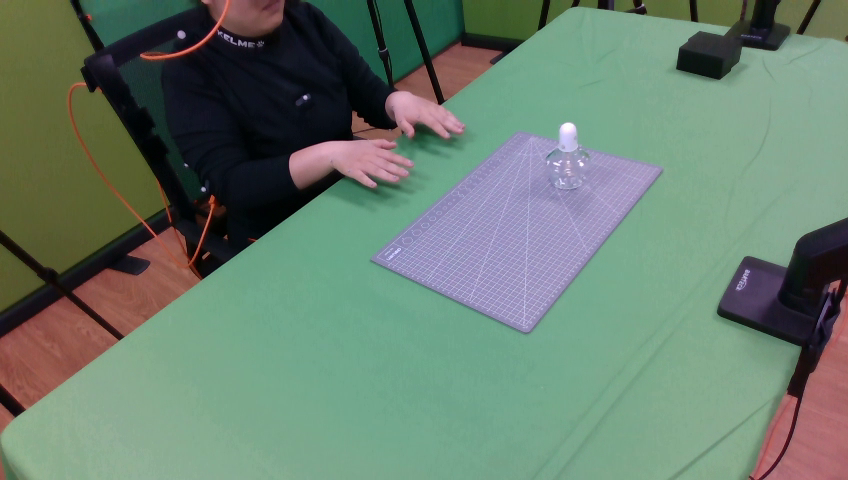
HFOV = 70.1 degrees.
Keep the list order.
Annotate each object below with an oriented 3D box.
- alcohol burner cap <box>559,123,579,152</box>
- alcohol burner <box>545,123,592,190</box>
[{"bbox_3d":[0.241,-0.173,1.010,0.034,0.048,0.033,-8,44,8],"label":"alcohol burner cap"},{"bbox_3d":[0.247,-0.147,1.034,0.078,0.120,0.077,-7,41,6],"label":"alcohol burner"}]
